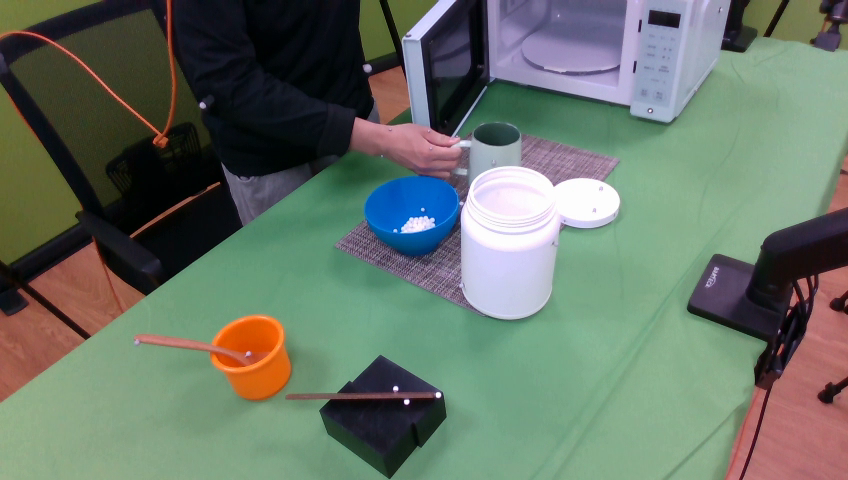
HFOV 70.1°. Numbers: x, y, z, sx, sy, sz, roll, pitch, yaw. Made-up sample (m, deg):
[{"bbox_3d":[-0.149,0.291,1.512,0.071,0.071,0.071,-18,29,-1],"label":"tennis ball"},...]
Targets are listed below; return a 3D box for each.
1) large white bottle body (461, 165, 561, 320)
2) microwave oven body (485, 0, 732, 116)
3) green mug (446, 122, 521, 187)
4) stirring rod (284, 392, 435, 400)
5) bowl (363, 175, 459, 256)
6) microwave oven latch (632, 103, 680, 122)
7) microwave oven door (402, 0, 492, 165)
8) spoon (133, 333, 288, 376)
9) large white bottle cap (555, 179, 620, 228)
[{"bbox_3d":[0.115,0.004,0.815,0.130,0.185,0.130,-2,43,2],"label":"large white bottle body"},{"bbox_3d":[0.377,-0.463,1.267,0.438,0.261,0.327,21,49,30],"label":"microwave oven body"},{"bbox_3d":[0.099,-0.129,0.994,0.125,0.105,0.092,3,42,5],"label":"green mug"},{"bbox_3d":[-0.075,0.180,0.698,0.176,0.006,0.014,-2,6,6],"label":"stirring rod"},{"bbox_3d":[-0.017,-0.028,0.955,0.151,0.077,0.150,-4,40,4],"label":"bowl"},{"bbox_3d":[0.443,-0.249,1.157,0.078,0.029,0.030,20,48,29],"label":"microwave oven latch"},{"bbox_3d":[0.056,-0.343,1.166,0.039,0.245,0.356,10,44,20],"label":"microwave oven door"},{"bbox_3d":[-0.257,0.137,0.747,0.021,0.195,0.041,-47,40,23],"label":"spoon"},{"bbox_3d":[0.265,-0.062,1.001,0.115,0.018,0.114,-3,41,3],"label":"large white bottle cap"}]
